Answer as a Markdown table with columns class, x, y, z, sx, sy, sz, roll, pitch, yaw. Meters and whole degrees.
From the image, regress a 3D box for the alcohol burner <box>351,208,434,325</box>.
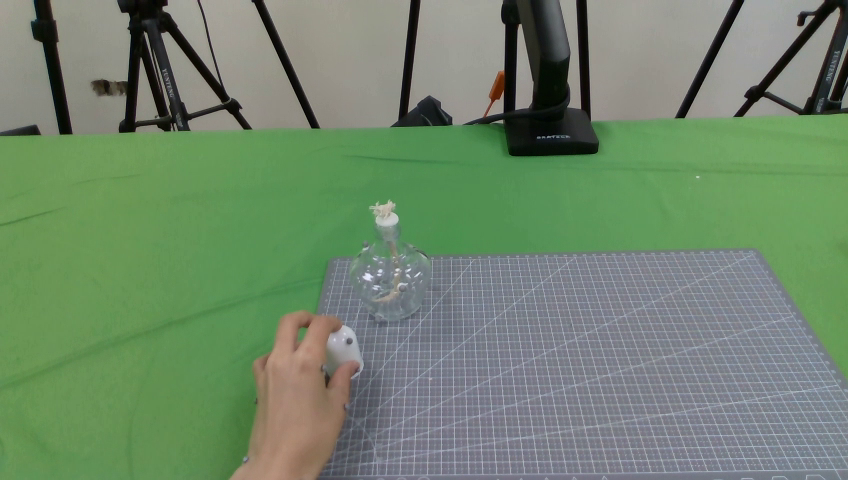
| class | x | y | z | sx | sy | sz | roll | pitch | yaw |
| --- | --- | --- | --- | --- | --- | --- | --- | --- | --- |
| alcohol burner | -0.030 | 0.019 | 0.553 | 0.078 | 0.120 | 0.077 | -1 | 38 | 1 |

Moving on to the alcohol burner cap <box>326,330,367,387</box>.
| class | x | y | z | sx | sy | sz | roll | pitch | yaw |
| --- | --- | --- | --- | --- | --- | --- | --- | --- | --- |
| alcohol burner cap | -0.067 | 0.097 | 0.512 | 0.034 | 0.048 | 0.033 | -2 | 37 | 2 |
